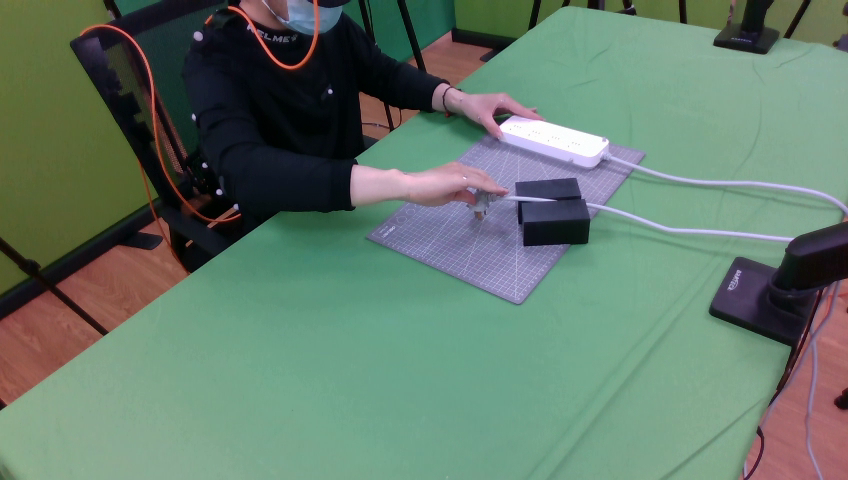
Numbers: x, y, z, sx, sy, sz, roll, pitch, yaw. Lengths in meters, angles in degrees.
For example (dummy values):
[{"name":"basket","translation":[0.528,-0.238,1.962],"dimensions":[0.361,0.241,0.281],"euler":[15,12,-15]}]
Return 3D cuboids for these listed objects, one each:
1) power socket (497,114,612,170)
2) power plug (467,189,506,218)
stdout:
[{"name":"power socket","translation":[0.240,-0.188,1.141],"dimensions":[0.225,0.033,0.072],"euler":[25,52,31]},{"name":"power plug","translation":[0.100,-0.054,0.984],"dimensions":[0.035,0.053,0.072],"euler":[-28,39,-21]}]
